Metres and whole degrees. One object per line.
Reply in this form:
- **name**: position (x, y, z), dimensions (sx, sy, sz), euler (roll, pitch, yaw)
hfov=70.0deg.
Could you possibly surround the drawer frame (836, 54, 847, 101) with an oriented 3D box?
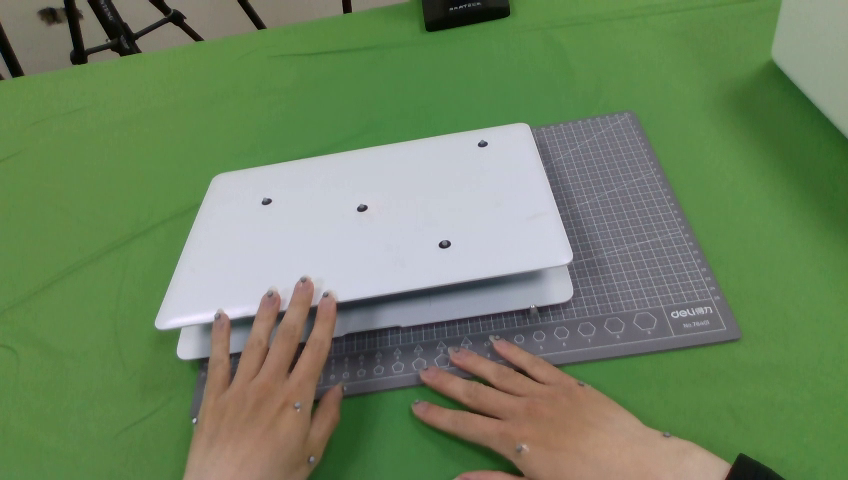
- **drawer frame**: position (0.512, -0.113, 0.513), dimensions (0.201, 0.083, 0.211), euler (-9, 47, 3)

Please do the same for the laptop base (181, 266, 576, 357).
- **laptop base**: position (-0.050, -0.007, 0.598), dimensions (0.354, 0.023, 0.233), euler (-9, 51, 4)

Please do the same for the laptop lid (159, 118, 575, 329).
- **laptop lid**: position (-0.055, -0.029, 0.575), dimensions (0.356, 0.013, 0.239), euler (-8, 41, 6)

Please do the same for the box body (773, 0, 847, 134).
- **box body**: position (0.511, -0.162, 0.514), dimensions (0.254, 0.162, 0.360), euler (-13, 48, 1)

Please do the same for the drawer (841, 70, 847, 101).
- **drawer**: position (0.512, -0.110, 0.516), dimensions (0.194, 0.074, 0.209), euler (-11, 49, 6)
